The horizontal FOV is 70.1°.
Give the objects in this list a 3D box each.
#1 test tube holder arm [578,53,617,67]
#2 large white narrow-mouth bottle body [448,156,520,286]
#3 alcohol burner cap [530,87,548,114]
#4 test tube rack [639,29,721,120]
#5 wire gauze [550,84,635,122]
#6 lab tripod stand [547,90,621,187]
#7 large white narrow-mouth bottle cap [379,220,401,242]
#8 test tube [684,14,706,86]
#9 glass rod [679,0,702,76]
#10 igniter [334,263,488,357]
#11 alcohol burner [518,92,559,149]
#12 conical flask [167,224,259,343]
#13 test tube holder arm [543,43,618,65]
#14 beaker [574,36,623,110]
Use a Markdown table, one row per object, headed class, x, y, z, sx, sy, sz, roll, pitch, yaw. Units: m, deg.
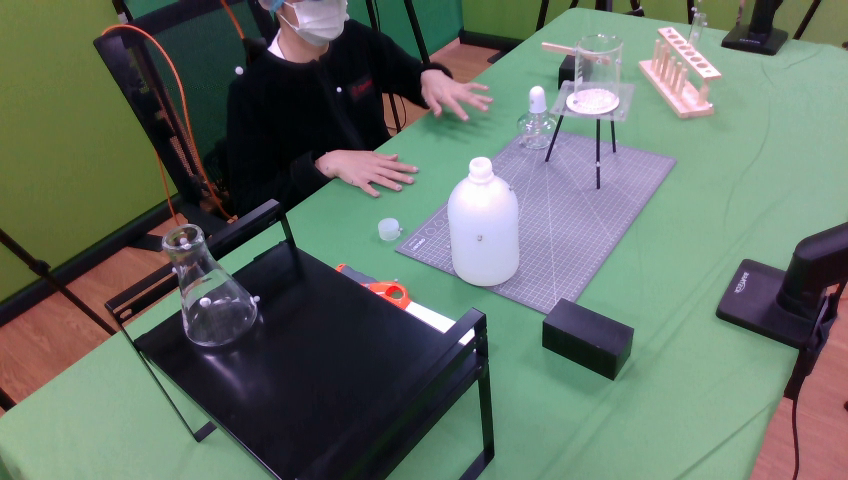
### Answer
| class | x | y | z | sx | sy | sz | roll | pitch | yaw |
| --- | --- | --- | --- | --- | --- | --- | --- | --- | --- |
| test tube holder arm | 0.376 | -0.393 | 1.314 | 0.087 | 0.015 | 0.010 | 26 | 51 | 32 |
| large white narrow-mouth bottle body | 0.086 | -0.032 | 0.868 | 0.102 | 0.195 | 0.101 | -4 | 40 | 4 |
| alcohol burner cap | 0.212 | -0.262 | 1.126 | 0.034 | 0.048 | 0.033 | -9 | 36 | 7 |
| test tube rack | 0.527 | -0.351 | 1.262 | 0.067 | 0.085 | 0.241 | -8 | 40 | 1 |
| wire gauze | 0.285 | -0.234 | 1.021 | 0.124 | 0.011 | 0.121 | 8 | 41 | 23 |
| lab tripod stand | 0.289 | -0.184 | 1.062 | 0.148 | 0.132 | 0.147 | -6 | 41 | 6 |
| large white narrow-mouth bottle cap | -0.057 | -0.015 | 1.011 | 0.038 | 0.024 | 0.037 | -4 | 40 | 4 |
| test tube | 0.540 | -0.378 | 1.215 | 0.017 | 0.151 | 0.017 | -2 | 44 | 3 |
| glass rod | 0.543 | -0.417 | 1.233 | 0.008 | 0.200 | 0.008 | 1 | 39 | 0 |
| igniter | -0.030 | 0.095 | 0.872 | 0.274 | 0.025 | 0.057 | 23 | 60 | 31 |
| alcohol burner | 0.218 | -0.235 | 1.149 | 0.078 | 0.119 | 0.077 | -5 | 43 | 5 |
| conical flask | -0.220 | 0.041 | 0.613 | 0.075 | 0.122 | 0.075 | -5 | 40 | 4 |
| test tube holder arm | 0.345 | -0.413 | 1.341 | 0.177 | 0.015 | 0.013 | 25 | 50 | 32 |
| beaker | 0.285 | -0.273 | 0.990 | 0.073 | 0.101 | 0.084 | 15 | 46 | 27 |
